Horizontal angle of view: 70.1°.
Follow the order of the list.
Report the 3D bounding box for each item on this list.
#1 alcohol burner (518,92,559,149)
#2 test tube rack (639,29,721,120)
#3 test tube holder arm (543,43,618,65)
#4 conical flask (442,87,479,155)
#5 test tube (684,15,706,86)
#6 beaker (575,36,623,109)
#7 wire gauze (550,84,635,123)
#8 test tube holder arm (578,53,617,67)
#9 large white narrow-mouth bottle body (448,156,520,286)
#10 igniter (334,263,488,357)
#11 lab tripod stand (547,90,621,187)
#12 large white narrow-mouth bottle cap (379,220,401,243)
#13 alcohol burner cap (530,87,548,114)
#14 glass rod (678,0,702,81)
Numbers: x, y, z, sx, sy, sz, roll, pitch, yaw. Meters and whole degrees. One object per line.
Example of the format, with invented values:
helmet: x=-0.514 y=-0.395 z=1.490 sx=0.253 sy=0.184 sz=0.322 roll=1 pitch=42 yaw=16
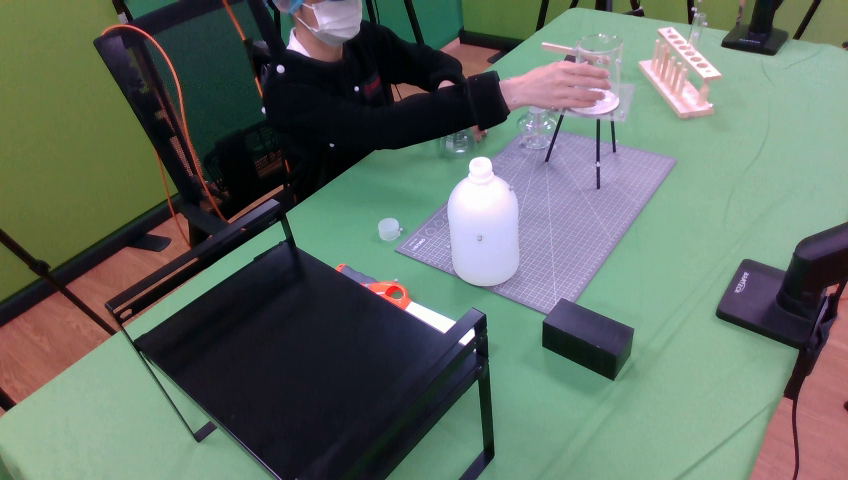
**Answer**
alcohol burner: x=0.218 y=-0.235 z=1.149 sx=0.078 sy=0.119 sz=0.077 roll=-5 pitch=43 yaw=5
test tube rack: x=0.527 y=-0.351 z=1.262 sx=0.067 sy=0.085 sz=0.241 roll=-8 pitch=40 yaw=1
test tube holder arm: x=0.345 y=-0.413 z=1.341 sx=0.177 sy=0.015 sz=0.013 roll=25 pitch=50 yaw=31
conical flask: x=0.066 y=-0.231 z=1.167 sx=0.075 sy=0.122 sz=0.075 roll=-5 pitch=40 yaw=4
test tube: x=0.540 y=-0.378 z=1.215 sx=0.017 sy=0.151 sz=0.017 roll=-2 pitch=44 yaw=3
beaker: x=0.285 y=-0.274 z=0.990 sx=0.073 sy=0.101 sz=0.084 roll=16 pitch=46 yaw=28
wire gauze: x=0.285 y=-0.235 z=1.021 sx=0.124 sy=0.011 sz=0.121 roll=9 pitch=41 yaw=23
test tube holder arm: x=0.376 y=-0.393 z=1.314 sx=0.087 sy=0.015 sz=0.010 roll=26 pitch=51 yaw=32
large white narrow-mouth bottle body: x=0.086 y=-0.032 z=0.869 sx=0.102 sy=0.195 sz=0.101 roll=-4 pitch=40 yaw=4
igniter: x=-0.030 y=0.095 z=0.872 sx=0.274 sy=0.025 sz=0.057 roll=23 pitch=60 yaw=31
lab tripod stand: x=0.289 y=-0.184 z=1.062 sx=0.148 sy=0.132 sz=0.147 roll=-6 pitch=41 yaw=6
large white narrow-mouth bottle cap: x=-0.057 y=-0.015 z=1.011 sx=0.038 sy=0.024 sz=0.037 roll=-4 pitch=40 yaw=4
alcohol burner cap: x=0.212 y=-0.262 z=1.126 sx=0.034 sy=0.048 sz=0.033 roll=-8 pitch=36 yaw=7
glass rod: x=0.543 y=-0.417 z=1.233 sx=0.008 sy=0.200 sz=0.008 roll=1 pitch=39 yaw=0
